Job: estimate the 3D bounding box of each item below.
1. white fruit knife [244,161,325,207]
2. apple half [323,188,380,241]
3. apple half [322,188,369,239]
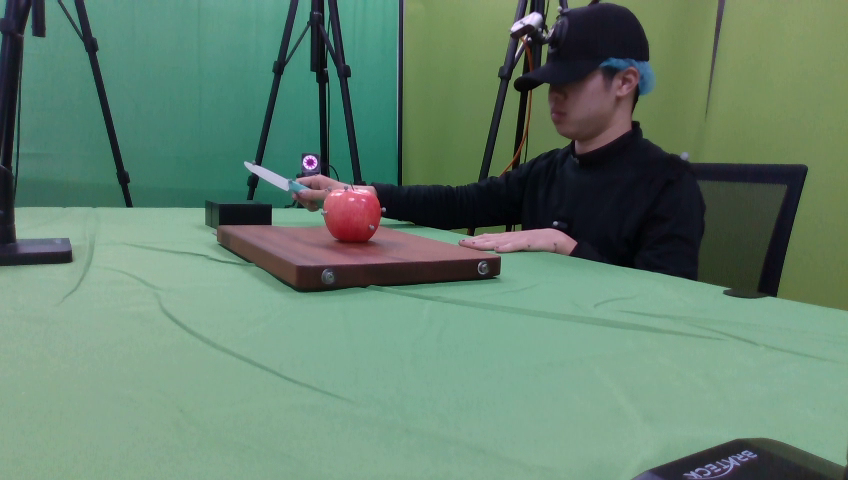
[{"bbox_3d":[-0.276,-0.113,1.233,0.208,0.027,0.016,27,-14,-39],"label":"white fruit knife"},{"bbox_3d":[-0.094,-0.034,0.839,0.081,0.074,0.053,1,11,-41],"label":"apple half"},{"bbox_3d":[-0.119,-0.040,0.868,0.082,0.081,0.032,-4,13,-41],"label":"apple half"}]
